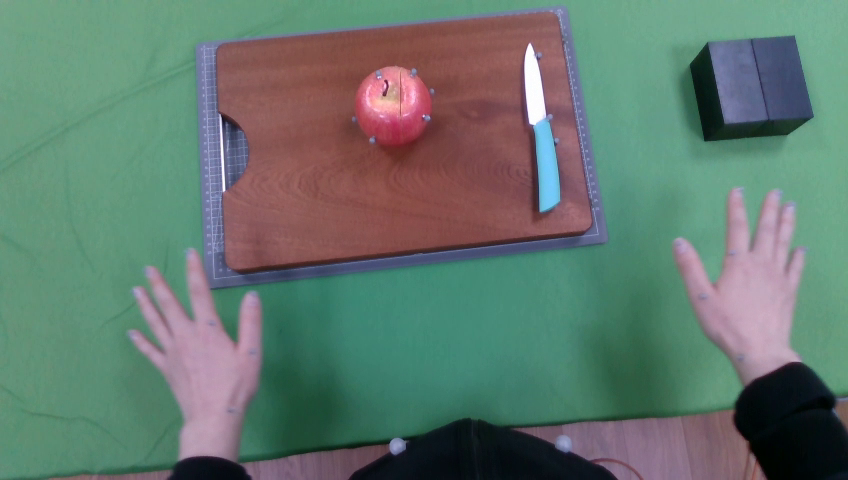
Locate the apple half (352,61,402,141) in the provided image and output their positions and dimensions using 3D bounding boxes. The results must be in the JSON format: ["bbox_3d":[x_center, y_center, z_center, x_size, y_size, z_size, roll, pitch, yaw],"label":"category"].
[{"bbox_3d":[-0.049,-0.146,0.646,0.053,0.075,0.080,-2,81,4],"label":"apple half"}]

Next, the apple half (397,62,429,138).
[{"bbox_3d":[-0.010,-0.147,0.645,0.033,0.081,0.081,-1,78,2],"label":"apple half"}]

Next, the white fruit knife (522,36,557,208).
[{"bbox_3d":[0.127,-0.135,0.674,0.027,0.016,0.206,-1,77,-14],"label":"white fruit knife"}]
